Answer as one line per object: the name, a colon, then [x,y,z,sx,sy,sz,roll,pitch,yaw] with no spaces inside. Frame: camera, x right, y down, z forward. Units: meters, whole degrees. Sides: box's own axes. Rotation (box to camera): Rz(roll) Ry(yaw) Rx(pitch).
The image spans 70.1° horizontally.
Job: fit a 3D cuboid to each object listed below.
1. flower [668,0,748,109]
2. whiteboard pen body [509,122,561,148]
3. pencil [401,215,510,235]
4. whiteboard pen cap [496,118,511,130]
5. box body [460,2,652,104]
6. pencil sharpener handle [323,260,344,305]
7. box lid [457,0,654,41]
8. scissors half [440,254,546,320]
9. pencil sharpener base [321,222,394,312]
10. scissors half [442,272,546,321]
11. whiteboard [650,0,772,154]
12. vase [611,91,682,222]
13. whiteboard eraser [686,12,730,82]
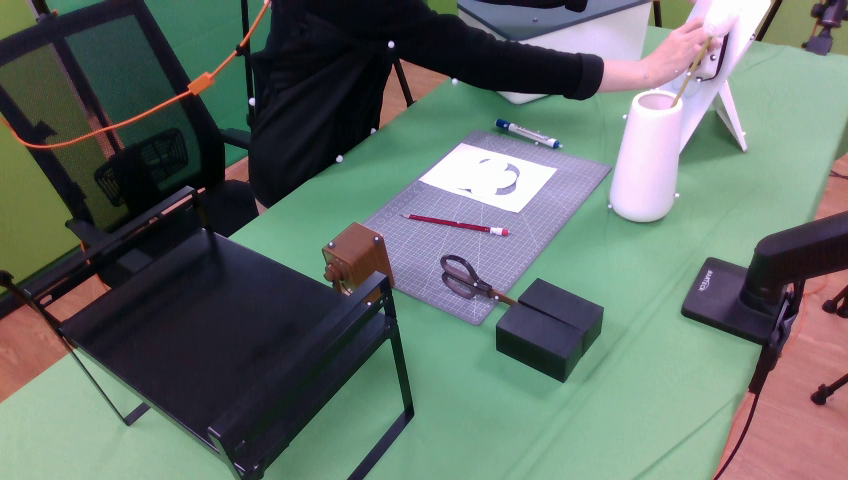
flower: [0.355,-0.187,0.879,0.038,0.362,0.044,31,48,15]
whiteboard pen body: [0.209,-0.212,1.196,0.139,0.017,0.017,31,53,33]
pencil: [0.049,-0.026,1.007,0.193,0.012,0.012,9,43,21]
whiteboard pen cap: [0.164,-0.234,1.227,0.033,0.018,0.018,33,54,29]
box body: [0.291,-0.465,1.371,0.365,0.161,0.252,-22,42,-16]
pencil sharpener handle: [-0.131,0.062,0.839,0.035,0.068,0.031,29,55,28]
box lid: [0.285,-0.522,1.323,0.373,0.015,0.261,-22,43,-16]
scissors half: [0.092,0.065,0.825,0.174,0.040,0.013,31,57,25]
pencil sharpener base: [-0.096,0.041,0.873,0.061,0.107,0.077,26,54,32]
scissors half: [0.094,0.081,0.838,0.173,0.040,0.013,19,45,39]
whiteboard: [0.543,-0.298,1.076,0.144,0.305,0.216,12,40,-7]
vase: [0.348,-0.125,0.936,0.098,0.201,0.097,-3,40,3]
whiteboard eraser: [0.470,-0.319,0.992,0.042,0.112,0.055,11,3,-8]
